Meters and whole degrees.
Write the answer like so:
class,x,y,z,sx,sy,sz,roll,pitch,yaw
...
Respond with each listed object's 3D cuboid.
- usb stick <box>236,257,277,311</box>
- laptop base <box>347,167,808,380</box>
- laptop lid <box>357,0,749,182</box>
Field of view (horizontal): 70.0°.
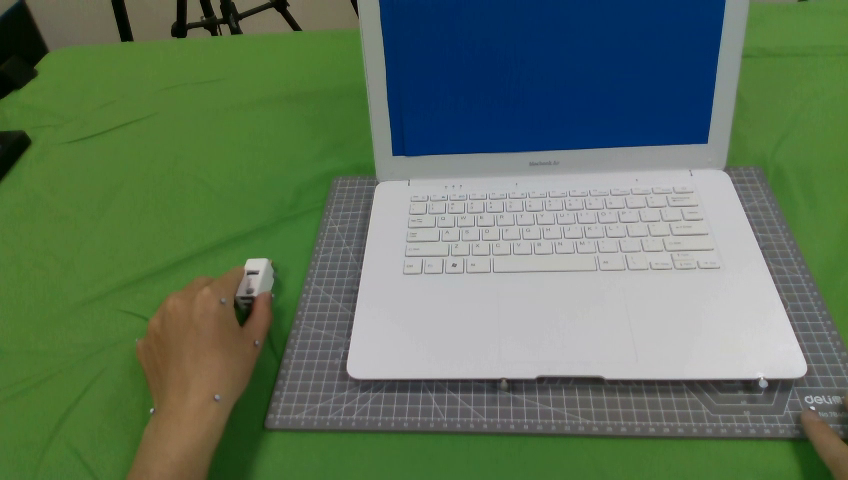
class,x,y,z,sx,sy,sz,roll,pitch,yaw
usb stick,-0.153,0.035,0.561,0.021,0.027,0.058,-3,44,10
laptop base,0.119,0.023,0.545,0.354,0.023,0.233,-2,49,5
laptop lid,0.117,-0.168,0.573,0.356,0.243,0.013,-3,25,6
